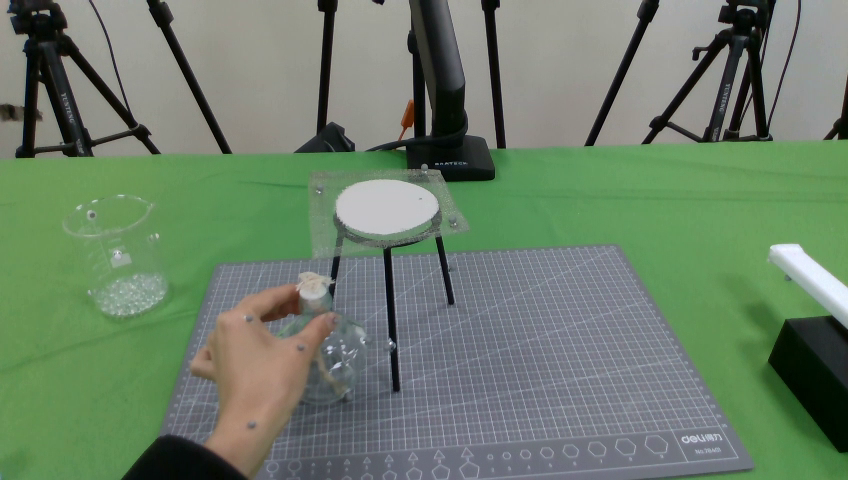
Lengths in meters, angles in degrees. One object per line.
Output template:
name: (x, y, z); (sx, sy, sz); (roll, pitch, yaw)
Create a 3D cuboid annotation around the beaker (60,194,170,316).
beaker: (-0.290, 0.015, 0.586); (0.073, 0.101, 0.084); (29, 43, 35)

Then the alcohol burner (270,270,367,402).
alcohol burner: (-0.085, 0.072, 0.487); (0.078, 0.120, 0.077); (2, 34, -1)

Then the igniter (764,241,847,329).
igniter: (0.365, 0.078, 0.482); (0.057, 0.025, 0.274); (-3, 31, -6)

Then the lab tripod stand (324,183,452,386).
lab tripod stand: (-0.030, 0.030, 0.531); (0.148, 0.132, 0.147); (2, 35, -1)

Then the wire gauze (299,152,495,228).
wire gauze: (-0.025, -0.041, 0.488); (0.125, 0.011, 0.120); (-12, 31, -29)
